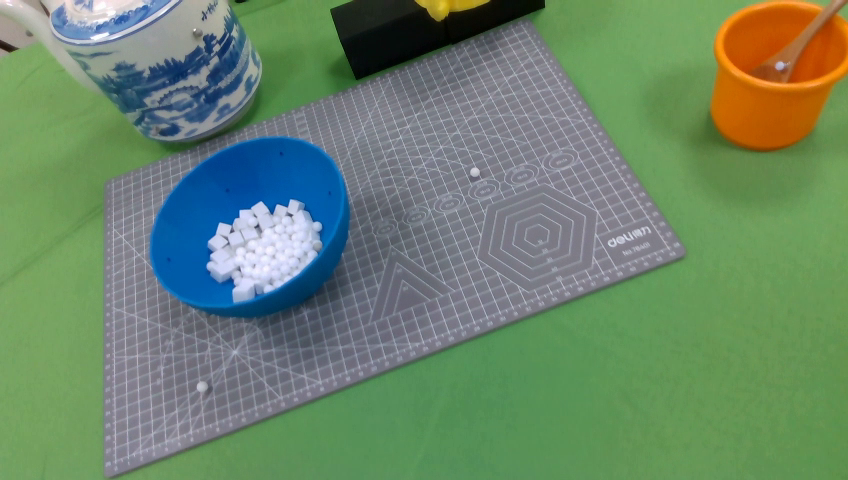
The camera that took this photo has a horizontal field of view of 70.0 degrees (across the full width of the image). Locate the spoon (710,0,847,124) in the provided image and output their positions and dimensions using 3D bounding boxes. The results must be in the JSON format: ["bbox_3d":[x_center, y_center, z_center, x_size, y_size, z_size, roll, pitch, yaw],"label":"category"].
[{"bbox_3d":[0.284,-0.158,0.427,0.022,0.194,0.041,7,45,-34],"label":"spoon"}]

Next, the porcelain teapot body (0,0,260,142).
[{"bbox_3d":[-0.284,-0.199,0.550,0.205,0.227,0.144,-10,57,9],"label":"porcelain teapot body"}]

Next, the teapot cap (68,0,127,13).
[{"bbox_3d":[-0.265,-0.224,0.513,0.085,0.044,0.084,-8,58,13],"label":"teapot cap"}]

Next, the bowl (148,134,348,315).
[{"bbox_3d":[-0.122,0.000,0.469,0.151,0.077,0.150,-6,57,10],"label":"bowl"}]

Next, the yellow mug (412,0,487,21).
[{"bbox_3d":[0.021,-0.254,0.543,0.099,0.064,0.130,9,63,19],"label":"yellow mug"}]
